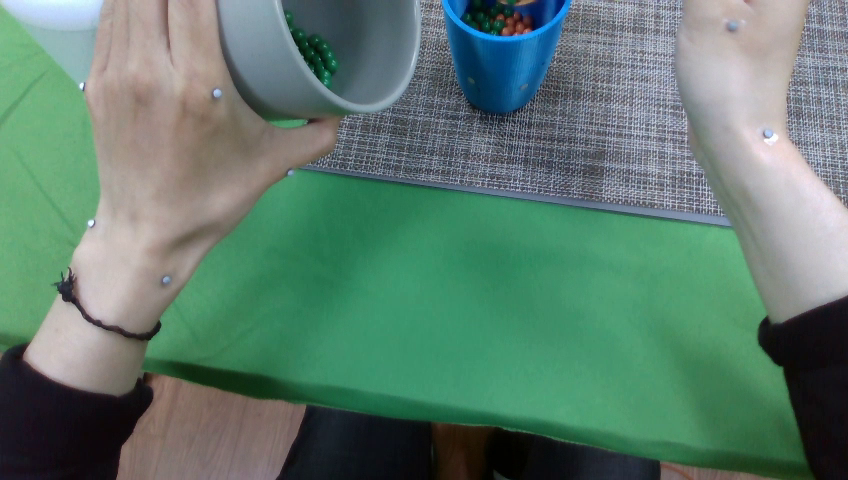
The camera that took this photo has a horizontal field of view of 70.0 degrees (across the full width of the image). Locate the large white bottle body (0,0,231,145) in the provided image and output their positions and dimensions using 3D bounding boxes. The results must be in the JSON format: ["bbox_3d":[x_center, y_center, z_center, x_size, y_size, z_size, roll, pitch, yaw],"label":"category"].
[{"bbox_3d":[-0.196,-0.162,0.403,0.130,0.186,0.129,-1,70,2],"label":"large white bottle body"}]

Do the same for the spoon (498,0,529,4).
[{"bbox_3d":[0.112,-0.168,0.333,0.192,0.022,0.041,2,76,48],"label":"spoon"}]

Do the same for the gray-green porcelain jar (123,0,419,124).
[{"bbox_3d":[-0.083,-0.117,0.319,0.126,0.107,0.105,3,67,34],"label":"gray-green porcelain jar"}]

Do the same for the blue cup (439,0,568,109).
[{"bbox_3d":[0.054,-0.145,0.429,0.092,0.101,0.092,-1,69,4],"label":"blue cup"}]
